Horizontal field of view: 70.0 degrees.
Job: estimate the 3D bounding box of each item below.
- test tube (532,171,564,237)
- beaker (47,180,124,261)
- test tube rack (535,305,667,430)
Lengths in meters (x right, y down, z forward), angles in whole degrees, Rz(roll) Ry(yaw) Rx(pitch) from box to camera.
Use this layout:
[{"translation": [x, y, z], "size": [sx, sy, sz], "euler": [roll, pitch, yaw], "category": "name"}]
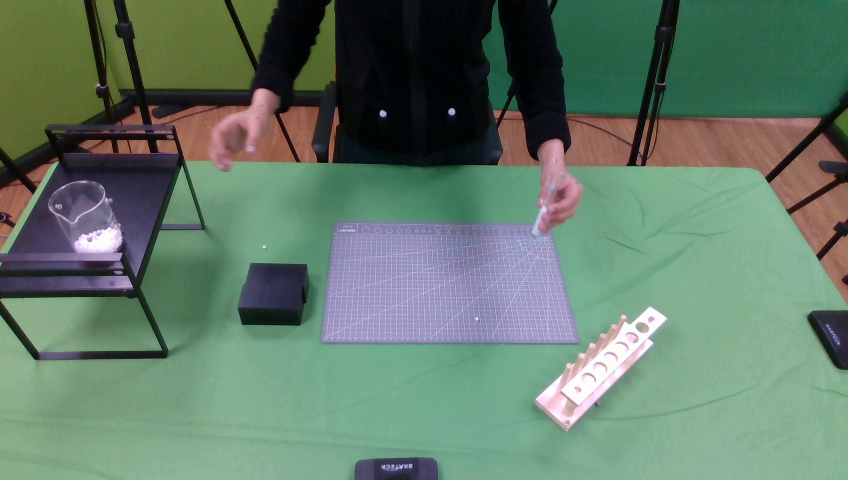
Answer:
[{"translation": [0.192, -0.053, 0.949], "size": [0.017, 0.151, 0.017], "euler": [3, 54, -4], "category": "test tube"}, {"translation": [-0.486, -0.024, 0.879], "size": [0.074, 0.101, 0.083], "euler": [-7, 48, -9], "category": "beaker"}, {"translation": [0.290, 0.193, 0.984], "size": [0.242, 0.085, 0.066], "euler": [-32, 56, -30], "category": "test tube rack"}]
